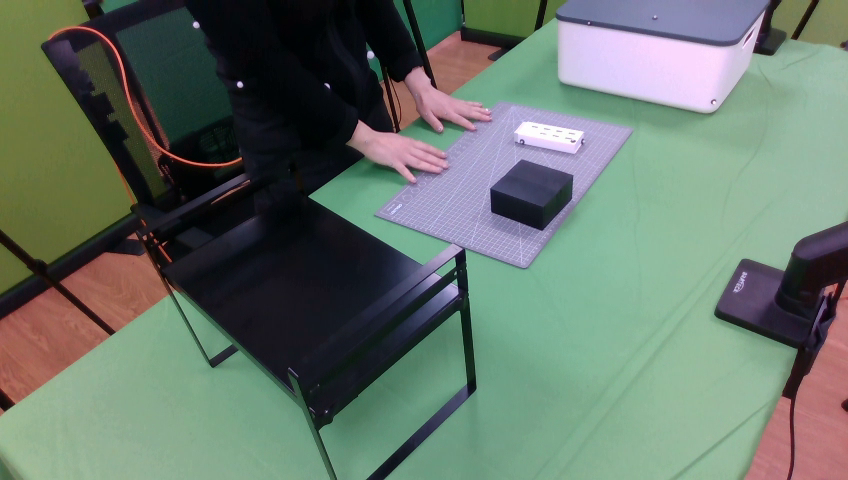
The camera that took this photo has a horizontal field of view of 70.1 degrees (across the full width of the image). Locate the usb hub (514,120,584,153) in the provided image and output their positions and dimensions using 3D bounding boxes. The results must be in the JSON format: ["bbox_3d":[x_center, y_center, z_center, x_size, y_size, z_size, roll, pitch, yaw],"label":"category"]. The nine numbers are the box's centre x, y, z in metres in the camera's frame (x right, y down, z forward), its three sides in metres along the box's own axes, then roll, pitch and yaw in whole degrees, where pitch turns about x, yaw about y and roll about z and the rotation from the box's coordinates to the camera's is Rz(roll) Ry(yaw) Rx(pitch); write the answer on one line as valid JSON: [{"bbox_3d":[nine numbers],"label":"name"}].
[{"bbox_3d":[0.240,-0.200,1.165,0.124,0.025,0.049,17,47,26],"label":"usb hub"}]

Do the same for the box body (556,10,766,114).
[{"bbox_3d":[0.491,-0.419,1.283,0.361,0.161,0.255,22,49,30],"label":"box body"}]

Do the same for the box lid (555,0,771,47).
[{"bbox_3d":[0.481,-0.475,1.236,0.368,0.015,0.264,22,49,30],"label":"box lid"}]
